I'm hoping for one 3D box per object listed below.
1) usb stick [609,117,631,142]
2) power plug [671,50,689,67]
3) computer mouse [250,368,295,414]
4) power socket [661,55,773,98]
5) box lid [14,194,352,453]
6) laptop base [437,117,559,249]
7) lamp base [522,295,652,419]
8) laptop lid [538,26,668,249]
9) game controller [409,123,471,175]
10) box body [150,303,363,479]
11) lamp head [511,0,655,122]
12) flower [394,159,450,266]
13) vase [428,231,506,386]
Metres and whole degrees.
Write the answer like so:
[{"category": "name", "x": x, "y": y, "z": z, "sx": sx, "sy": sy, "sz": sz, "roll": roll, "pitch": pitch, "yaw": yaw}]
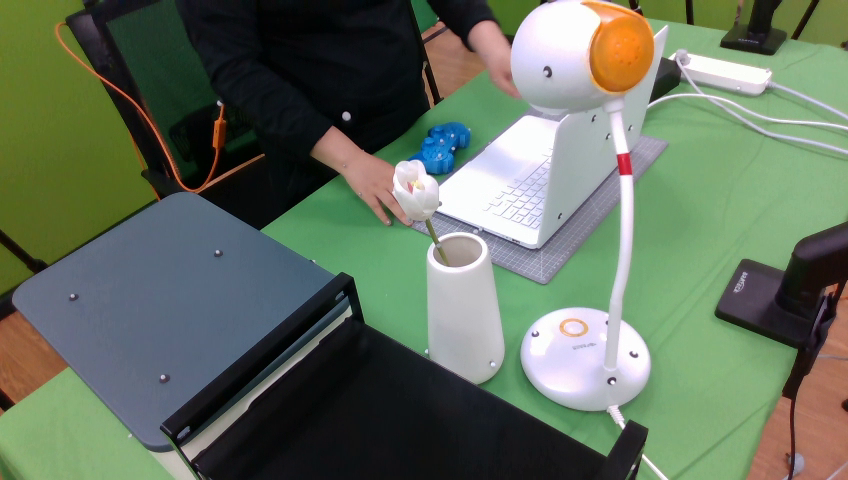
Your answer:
[{"category": "usb stick", "x": 0.370, "y": -0.207, "z": 1.147, "sx": 0.021, "sy": 0.027, "sz": 0.059, "roll": 25, "pitch": 56, "yaw": 33}, {"category": "power plug", "x": 0.541, "y": -0.379, "z": 1.302, "sx": 0.073, "sy": 0.053, "sz": 0.035, "roll": -30, "pitch": 45, "yaw": -22}, {"category": "computer mouse", "x": -0.196, "y": 0.182, "z": 0.771, "sx": 0.063, "sy": 0.041, "sz": 0.116, "roll": -12, "pitch": 47, "yaw": -11}, {"category": "power socket", "x": 0.619, "y": -0.352, "z": 1.289, "sx": 0.225, "sy": 0.033, "sz": 0.072, "roll": 26, "pitch": 51, "yaw": 33}, {"category": "box lid", "x": -0.290, "y": 0.067, "z": 0.716, "sx": 0.368, "sy": 0.015, "sz": 0.264, "roll": 25, "pitch": 50, "yaw": 33}, {"category": "laptop base", "x": 0.193, "y": -0.117, "z": 1.087, "sx": 0.233, "sy": 0.023, "sz": 0.355, "roll": 21, "pitch": 47, "yaw": 35}, {"category": "lamp base", "x": 0.201, "y": 0.095, "z": 0.710, "sx": 0.161, "sy": 0.181, "sz": 0.177, "roll": -16, "pitch": 43, "yaw": -10}, {"category": "laptop lid", "x": 0.282, "y": -0.162, "z": 0.942, "sx": 0.013, "sy": 0.242, "sz": 0.358, "roll": 28, "pitch": 50, "yaw": 27}, {"category": "game controller", "x": 0.029, "y": -0.180, "z": 1.169, "sx": 0.096, "sy": 0.052, "sz": 0.155, "roll": 13, "pitch": 45, "yaw": 19}, {"category": "box body", "x": -0.284, "y": 0.123, "z": 0.765, "sx": 0.361, "sy": 0.161, "sz": 0.255, "roll": 25, "pitch": 49, "yaw": 33}, {"category": "lamp head", "x": 0.155, "y": -0.168, "z": 0.563, "sx": 0.113, "sy": 0.113, "sz": 0.122, "roll": -18, "pitch": 23, "yaw": -12}, {"category": "flower", "x": 0.028, "y": 0.035, "z": 0.664, "sx": 0.043, "sy": 0.364, "sz": 0.038, "roll": 35, "pitch": 73, "yaw": 29}, {"category": "vase", "x": 0.050, "y": 0.087, "z": 0.728, "sx": 0.098, "sy": 0.201, "sz": 0.097, "roll": -3, "pitch": 40, "yaw": 3}]
